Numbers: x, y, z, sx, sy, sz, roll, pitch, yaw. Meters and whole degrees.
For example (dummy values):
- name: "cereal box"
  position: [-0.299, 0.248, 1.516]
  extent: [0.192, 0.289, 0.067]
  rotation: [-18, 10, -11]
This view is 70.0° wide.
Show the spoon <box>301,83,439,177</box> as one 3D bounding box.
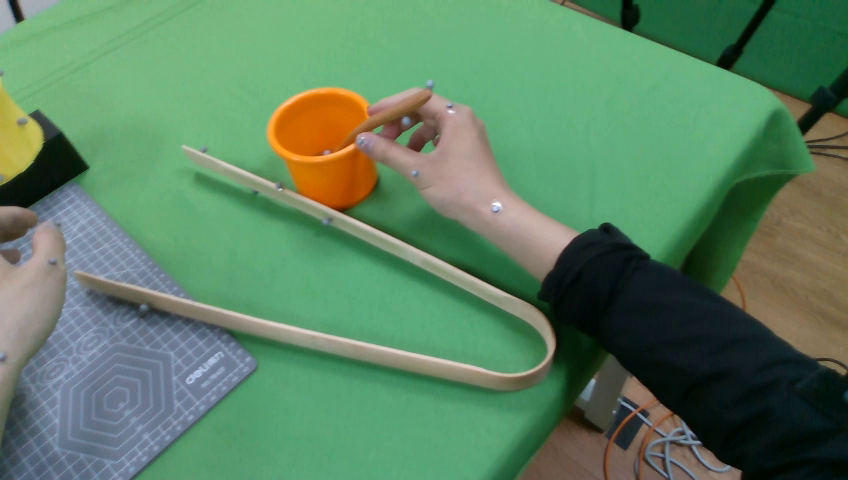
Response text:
- name: "spoon"
  position: [-0.052, -0.089, 0.498]
  extent: [0.022, 0.193, 0.041]
  rotation: [39, 59, -21]

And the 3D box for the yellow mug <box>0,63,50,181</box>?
- name: "yellow mug"
  position: [-0.405, -0.093, 0.524]
  extent: [0.099, 0.064, 0.130]
  rotation: [21, 60, 20]

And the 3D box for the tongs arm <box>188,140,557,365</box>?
- name: "tongs arm"
  position: [-0.064, -0.001, 0.508]
  extent: [0.382, 0.027, 0.050]
  rotation: [23, 59, 18]

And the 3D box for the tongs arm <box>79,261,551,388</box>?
- name: "tongs arm"
  position: [-0.098, 0.061, 0.468]
  extent: [0.386, 0.028, 0.028]
  rotation: [11, 52, 12]
